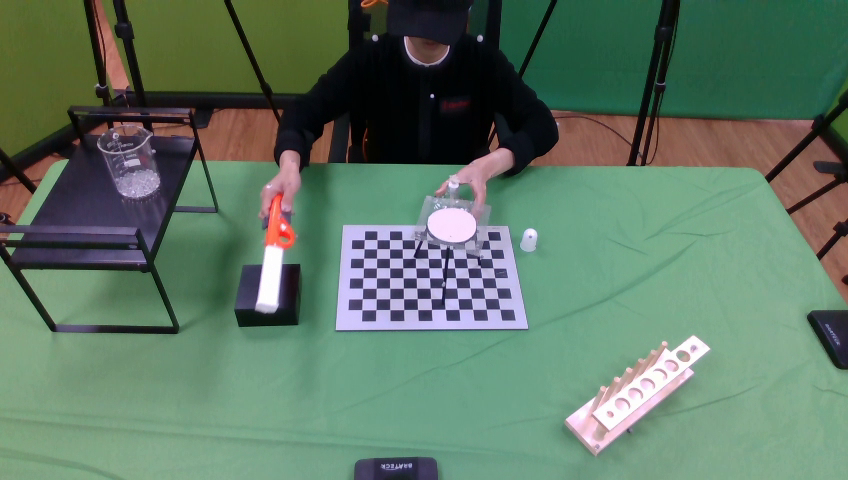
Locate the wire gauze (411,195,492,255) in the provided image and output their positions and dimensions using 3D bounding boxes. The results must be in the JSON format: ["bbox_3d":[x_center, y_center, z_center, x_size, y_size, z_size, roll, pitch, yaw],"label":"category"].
[{"bbox_3d":[0.049,-0.031,1.051,0.125,0.011,0.121,12,47,9],"label":"wire gauze"}]

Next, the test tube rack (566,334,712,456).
[{"bbox_3d":[0.338,0.228,0.950,0.242,0.085,0.066,-26,52,-26],"label":"test tube rack"}]

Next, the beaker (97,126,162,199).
[{"bbox_3d":[-0.468,-0.124,0.979,0.084,0.101,0.073,-25,53,-26],"label":"beaker"}]

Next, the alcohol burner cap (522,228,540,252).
[{"bbox_3d":[0.214,-0.003,1.198,0.034,0.048,0.033,1,46,-1],"label":"alcohol burner cap"}]

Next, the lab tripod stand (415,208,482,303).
[{"bbox_3d":[0.043,0.018,1.097,0.148,0.132,0.147,1,46,0],"label":"lab tripod stand"}]

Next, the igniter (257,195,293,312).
[{"bbox_3d":[-0.251,0.011,1.024,0.057,0.025,0.274,16,38,-20],"label":"igniter"}]

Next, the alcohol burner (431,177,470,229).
[{"bbox_3d":[0.055,-0.079,1.190,0.078,0.119,0.077,3,47,-4],"label":"alcohol burner"}]
